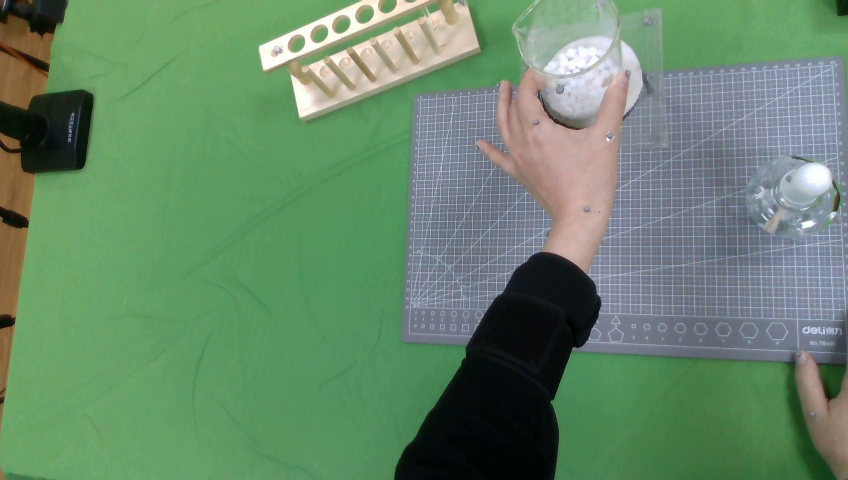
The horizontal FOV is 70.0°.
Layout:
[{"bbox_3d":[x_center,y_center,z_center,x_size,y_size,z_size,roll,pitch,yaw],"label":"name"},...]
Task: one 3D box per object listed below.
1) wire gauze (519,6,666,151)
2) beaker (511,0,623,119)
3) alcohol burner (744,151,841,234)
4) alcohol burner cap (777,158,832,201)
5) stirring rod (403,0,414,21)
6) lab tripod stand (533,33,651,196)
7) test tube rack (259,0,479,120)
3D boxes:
[{"bbox_3d":[0.146,-0.139,0.533,0.124,0.011,0.121,-1,84,19],"label":"wire gauze"},{"bbox_3d":[0.120,-0.147,0.490,0.083,0.101,0.074,16,86,24],"label":"beaker"},{"bbox_3d":[0.331,-0.046,0.538,0.077,0.120,0.077,-3,80,17],"label":"alcohol burner"},{"bbox_3d":[0.319,-0.052,0.504,0.034,0.048,0.034,-2,84,15],"label":"alcohol burner cap"},{"bbox_3d":[-0.035,-0.290,0.636,0.006,0.177,0.014,-17,70,9],"label":"stirring rod"},{"bbox_3d":[0.167,-0.127,0.596,0.148,0.132,0.148,-3,81,17],"label":"lab tripod stand"},{"bbox_3d":[-0.065,-0.228,0.719,0.242,0.086,0.066,-18,76,15],"label":"test tube rack"}]
